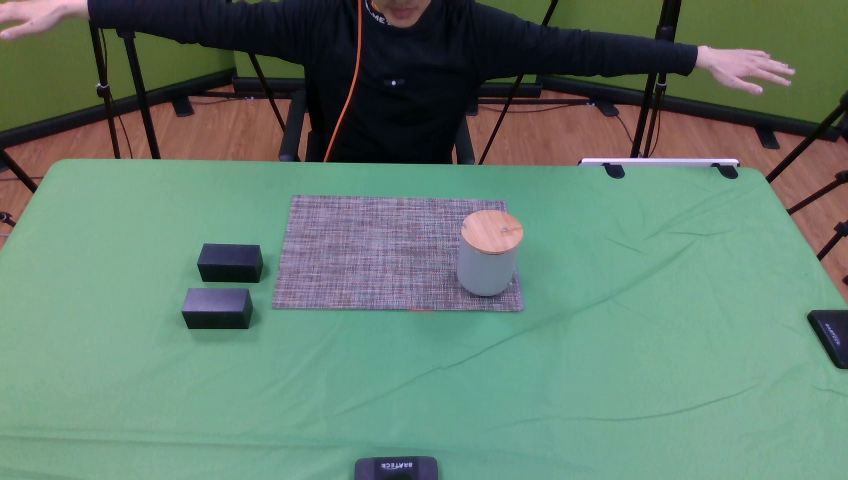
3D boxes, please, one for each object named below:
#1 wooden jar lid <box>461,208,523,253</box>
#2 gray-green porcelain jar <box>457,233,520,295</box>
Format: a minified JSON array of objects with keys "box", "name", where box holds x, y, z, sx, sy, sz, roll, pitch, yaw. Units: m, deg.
[{"box":[0.118,-0.013,1.053,0.108,0.021,0.107,0,43,0],"name":"wooden jar lid"},{"box":[0.115,0.030,1.099,0.106,0.127,0.105,2,46,-2],"name":"gray-green porcelain jar"}]
